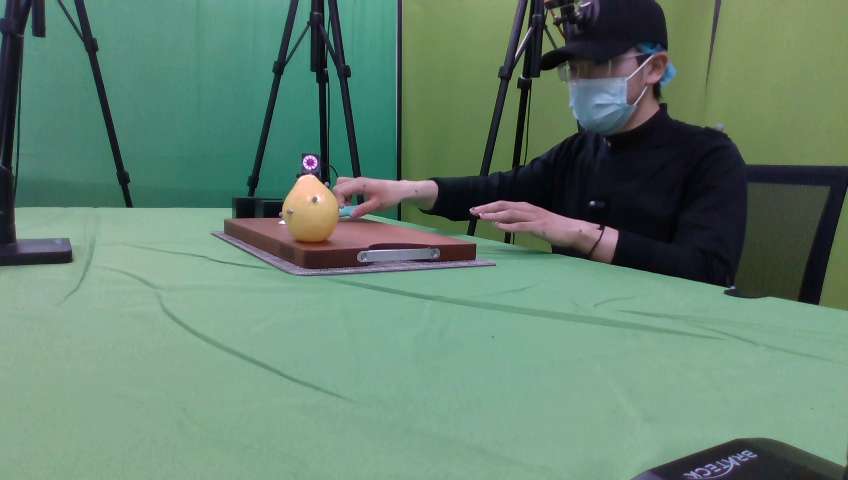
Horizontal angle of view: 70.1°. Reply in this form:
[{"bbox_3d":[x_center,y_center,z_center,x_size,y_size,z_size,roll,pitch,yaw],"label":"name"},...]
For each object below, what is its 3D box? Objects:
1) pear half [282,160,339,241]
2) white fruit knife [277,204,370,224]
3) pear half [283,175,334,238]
[{"bbox_3d":[-0.151,-0.052,0.812,0.077,0.110,0.055,-5,10,-22],"label":"pear half"},{"bbox_3d":[-0.179,-0.046,1.091,0.027,0.016,0.208,39,31,28],"label":"white fruit knife"},{"bbox_3d":[-0.164,-0.047,0.847,0.071,0.088,0.031,-9,12,-22],"label":"pear half"}]
